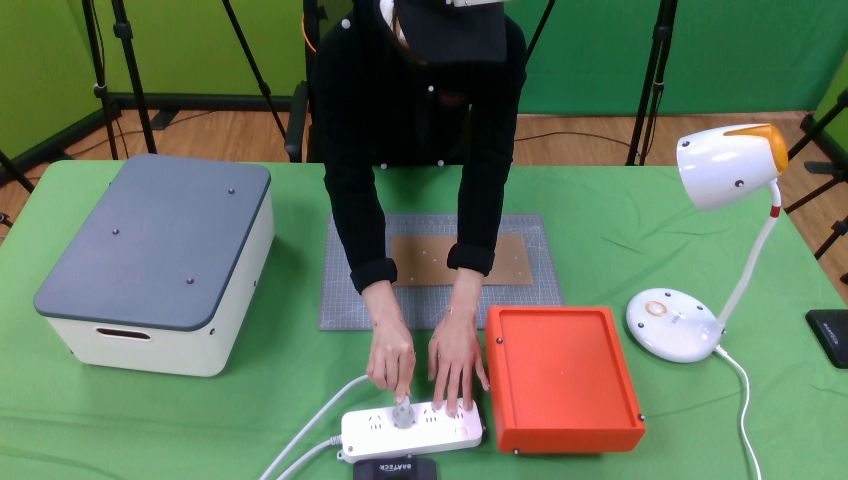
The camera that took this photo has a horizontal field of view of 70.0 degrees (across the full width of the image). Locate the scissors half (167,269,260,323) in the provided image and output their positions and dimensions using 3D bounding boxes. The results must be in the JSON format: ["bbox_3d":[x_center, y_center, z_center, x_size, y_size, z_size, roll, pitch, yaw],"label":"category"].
[{"bbox_3d":[-0.369,0.101,1.069,0.175,0.013,0.040,-29,51,-21],"label":"scissors half"}]

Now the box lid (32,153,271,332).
[{"bbox_3d":[-0.417,-0.015,0.980,0.263,0.015,0.369,6,46,1],"label":"box lid"}]

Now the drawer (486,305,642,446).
[{"bbox_3d":[0.202,0.201,0.919,0.195,0.073,0.210,1,47,-4],"label":"drawer"}]

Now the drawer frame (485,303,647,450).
[{"bbox_3d":[0.204,0.202,0.917,0.202,0.083,0.212,1,47,-4],"label":"drawer frame"}]

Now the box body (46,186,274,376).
[{"bbox_3d":[-0.421,0.037,1.031,0.254,0.161,0.362,6,46,1],"label":"box body"}]

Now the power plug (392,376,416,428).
[{"bbox_3d":[-0.029,0.249,0.917,0.035,0.053,0.072,5,47,-1],"label":"power plug"}]

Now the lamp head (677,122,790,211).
[{"bbox_3d":[0.424,-0.104,0.819,0.122,0.113,0.112,-13,33,39],"label":"lamp head"}]

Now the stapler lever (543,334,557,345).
[{"bbox_3d":[0.225,0.181,0.928,0.118,0.040,0.027,27,34,15],"label":"stapler lever"}]

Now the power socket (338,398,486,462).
[{"bbox_3d":[-0.017,0.286,0.915,0.227,0.033,0.071,-5,45,-8],"label":"power socket"}]

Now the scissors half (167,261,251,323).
[{"bbox_3d":[-0.383,0.091,1.080,0.040,0.013,0.175,24,51,31],"label":"scissors half"}]

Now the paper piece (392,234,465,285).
[{"bbox_3d":[0.006,0.036,1.168,0.135,0.004,0.135,2,44,-5],"label":"paper piece"}]

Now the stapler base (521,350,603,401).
[{"bbox_3d":[0.217,0.203,0.942,0.130,0.024,0.041,26,33,16],"label":"stapler base"}]

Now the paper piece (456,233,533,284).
[{"bbox_3d":[0.136,0.035,1.182,0.136,0.009,0.137,2,45,-6],"label":"paper piece"}]

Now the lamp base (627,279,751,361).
[{"bbox_3d":[0.460,0.100,1.027,0.178,0.181,0.160,27,51,17],"label":"lamp base"}]
